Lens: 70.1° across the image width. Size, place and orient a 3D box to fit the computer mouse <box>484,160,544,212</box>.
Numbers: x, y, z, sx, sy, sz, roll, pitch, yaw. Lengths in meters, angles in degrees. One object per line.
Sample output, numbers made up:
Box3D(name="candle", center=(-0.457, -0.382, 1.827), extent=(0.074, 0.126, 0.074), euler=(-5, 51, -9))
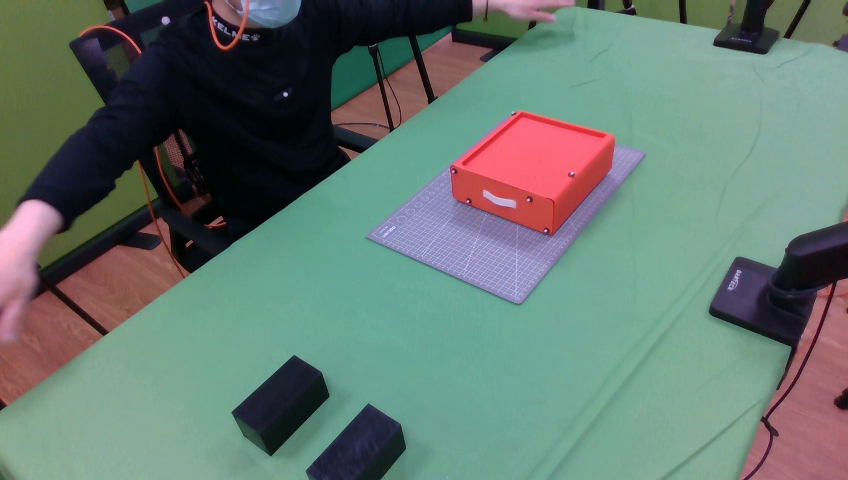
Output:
Box3D(name="computer mouse", center=(0.152, -0.094, 1.011), extent=(0.063, 0.041, 0.116), euler=(-10, 52, -29))

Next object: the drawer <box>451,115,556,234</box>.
Box3D(name="drawer", center=(0.185, -0.121, 1.034), extent=(0.193, 0.073, 0.212), euler=(23, 48, 31))

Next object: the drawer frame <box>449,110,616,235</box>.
Box3D(name="drawer frame", center=(0.186, -0.124, 1.035), extent=(0.200, 0.083, 0.214), euler=(22, 48, 31))
